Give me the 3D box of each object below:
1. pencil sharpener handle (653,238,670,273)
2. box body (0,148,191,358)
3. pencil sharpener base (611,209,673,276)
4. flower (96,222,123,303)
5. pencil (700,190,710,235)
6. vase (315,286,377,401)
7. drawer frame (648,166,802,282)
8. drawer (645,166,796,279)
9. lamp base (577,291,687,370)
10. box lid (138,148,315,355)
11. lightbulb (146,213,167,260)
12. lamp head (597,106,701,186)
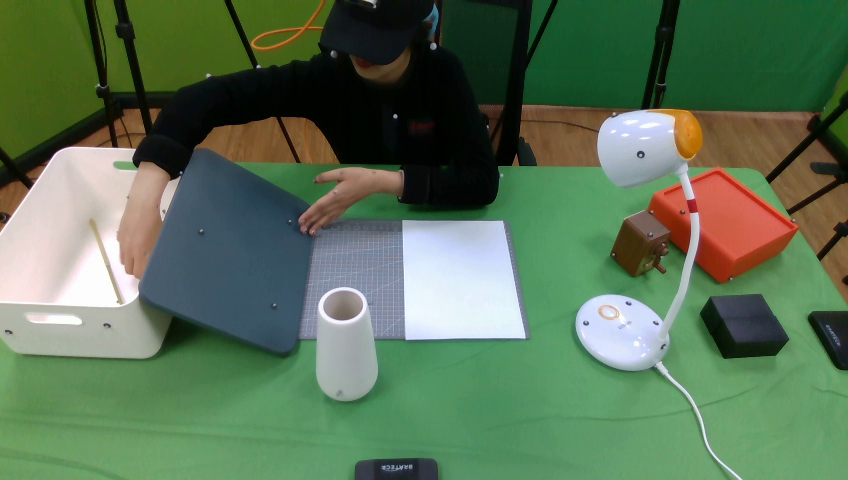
[{"bbox_3d":[0.444,0.030,1.120,0.036,0.068,0.030,-25,52,-18],"label":"pencil sharpener handle"},{"bbox_3d":[-0.545,0.017,1.045,0.254,0.161,0.361,2,46,-2],"label":"box body"},{"bbox_3d":[0.416,0.007,1.158,0.061,0.107,0.076,-21,51,-22],"label":"pencil sharpener base"},{"bbox_3d":[-0.557,0.069,1.088,0.044,0.038,0.359,-26,48,-18],"label":"flower"},{"bbox_3d":[0.584,-0.059,1.256,0.012,0.012,0.193,16,34,11],"label":"pencil"},{"bbox_3d":[-0.119,0.159,0.911,0.098,0.201,0.097,2,47,-2],"label":"vase"},{"bbox_3d":[0.603,-0.040,1.233,0.202,0.083,0.212,-21,51,-23],"label":"drawer frame"},{"bbox_3d":[0.600,-0.041,1.236,0.195,0.073,0.210,-21,51,-23],"label":"drawer"},{"bbox_3d":[0.361,0.110,1.003,0.160,0.181,0.178,-31,57,-28],"label":"lamp base"},{"bbox_3d":[-0.322,0.008,1.063,0.264,0.015,0.369,30,38,-28],"label":"box lid"},{"bbox_3d":[-0.486,-0.001,1.132,0.059,0.060,0.107,12,58,7],"label":"lightbulb"},{"bbox_3d":[0.328,-0.138,0.865,0.112,0.113,0.122,-36,20,-32],"label":"lamp head"}]
